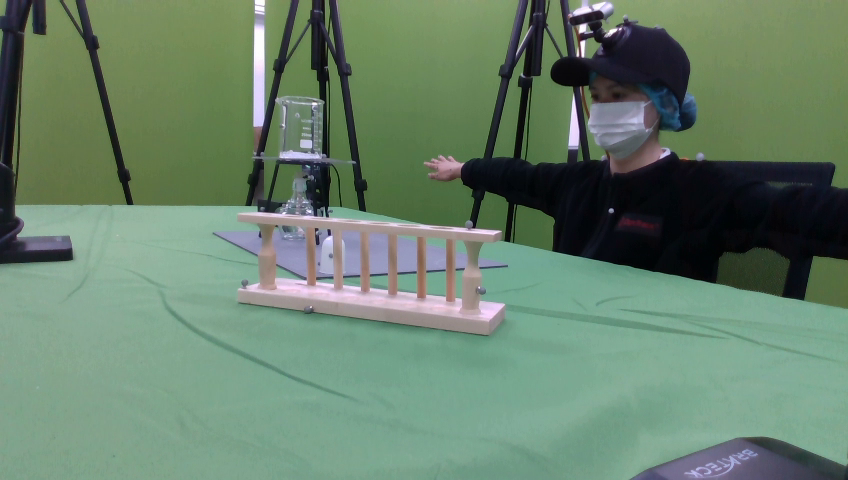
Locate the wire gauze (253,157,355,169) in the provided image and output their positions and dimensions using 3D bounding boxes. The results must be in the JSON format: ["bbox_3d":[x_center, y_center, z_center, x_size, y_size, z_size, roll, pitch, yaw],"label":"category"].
[{"bbox_3d":[-0.197,-0.131,0.999,0.121,0.011,0.125,7,5,21],"label":"wire gauze"}]

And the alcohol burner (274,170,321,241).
[{"bbox_3d":[-0.212,-0.058,1.015,0.078,0.119,0.078,4,5,0],"label":"alcohol burner"}]

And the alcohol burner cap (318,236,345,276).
[{"bbox_3d":[-0.110,0.019,0.723,0.034,0.048,0.034,2,6,0],"label":"alcohol burner cap"}]

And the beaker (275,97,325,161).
[{"bbox_3d":[-0.204,-0.179,0.989,0.084,0.100,0.073,-2,8,-40],"label":"beaker"}]

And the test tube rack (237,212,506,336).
[{"bbox_3d":[-0.049,0.024,0.552,0.242,0.085,0.067,5,8,18],"label":"test tube rack"}]

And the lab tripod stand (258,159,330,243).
[{"bbox_3d":[-0.202,-0.067,1.010,0.148,0.131,0.148,2,5,0],"label":"lab tripod stand"}]
